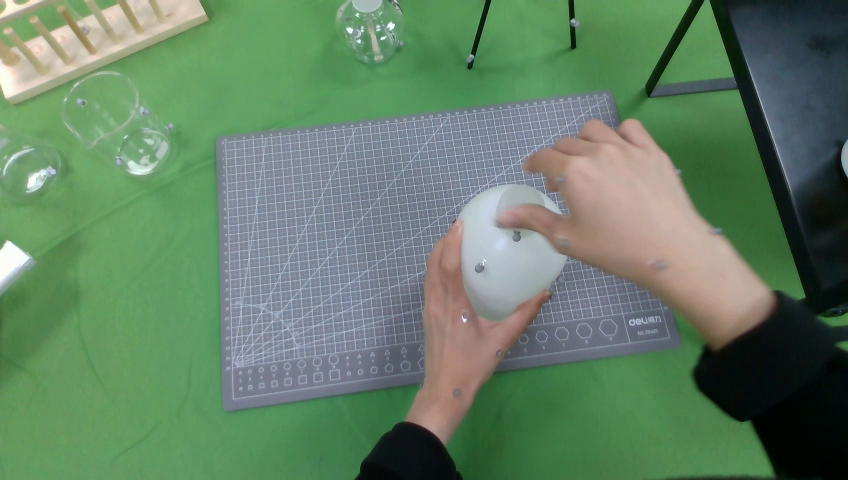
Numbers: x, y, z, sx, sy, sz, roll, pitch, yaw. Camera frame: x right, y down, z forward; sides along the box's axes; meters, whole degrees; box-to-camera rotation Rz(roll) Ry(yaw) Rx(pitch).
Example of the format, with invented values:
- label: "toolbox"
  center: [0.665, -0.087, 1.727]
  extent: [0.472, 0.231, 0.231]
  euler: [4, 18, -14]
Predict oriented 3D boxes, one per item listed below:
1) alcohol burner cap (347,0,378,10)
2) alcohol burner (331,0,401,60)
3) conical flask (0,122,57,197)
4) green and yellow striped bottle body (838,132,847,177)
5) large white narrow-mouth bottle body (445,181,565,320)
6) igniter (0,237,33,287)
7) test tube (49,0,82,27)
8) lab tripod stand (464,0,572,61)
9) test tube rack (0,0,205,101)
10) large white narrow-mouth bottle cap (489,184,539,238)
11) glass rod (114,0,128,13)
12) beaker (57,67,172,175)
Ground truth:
- label: "alcohol burner cap"
  center: [-0.066, -0.269, 0.633]
  extent: [0.034, 0.048, 0.033]
  euler: [0, 69, 0]
- label: "alcohol burner"
  center: [-0.065, -0.255, 0.667]
  extent: [0.078, 0.120, 0.077]
  euler: [1, 69, -1]
- label: "conical flask"
  center: [-0.437, -0.099, 0.607]
  extent: [0.075, 0.122, 0.075]
  euler: [0, 70, 0]
- label: "green and yellow striped bottle body"
  center: [0.350, -0.081, 0.414]
  extent: [0.063, 0.120, 0.063]
  euler: [0, 70, 0]
- label: "large white narrow-mouth bottle body"
  center: [0.070, 0.005, 0.533]
  extent: [0.102, 0.196, 0.101]
  euler: [0, 72, 1]
- label: "igniter"
  center: [-0.470, 0.108, 0.537]
  extent: [0.057, 0.025, 0.276]
  euler: [35, 71, 9]
- label: "test tube"
  center: [-0.408, -0.280, 0.637]
  extent: [0.017, 0.151, 0.017]
  euler: [-1, 68, 4]
- label: "lab tripod stand"
  center: [0.104, -0.276, 0.664]
  extent: [0.148, 0.132, 0.147]
  euler: [1, 69, -1]
- label: "test tube rack"
  center: [-0.385, -0.254, 0.680]
  extent: [0.242, 0.085, 0.066]
  euler: [-28, 73, -9]
- label: "large white narrow-mouth bottle cap"
  center: [0.067, -0.022, 0.448]
  extent: [0.038, 0.024, 0.037]
  euler: [0, 72, 1]
- label: "glass rod"
  center: [-0.367, -0.313, 0.630]
  extent: [0.008, 0.201, 0.008]
  euler: [-3, 65, 6]
- label: "beaker"
  center: [-0.314, -0.115, 0.626]
  extent: [0.074, 0.101, 0.083]
  euler: [7, 71, 3]
